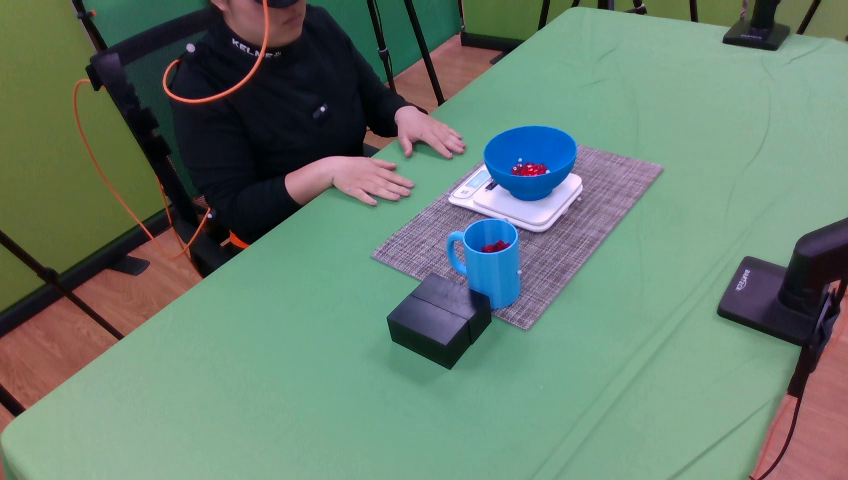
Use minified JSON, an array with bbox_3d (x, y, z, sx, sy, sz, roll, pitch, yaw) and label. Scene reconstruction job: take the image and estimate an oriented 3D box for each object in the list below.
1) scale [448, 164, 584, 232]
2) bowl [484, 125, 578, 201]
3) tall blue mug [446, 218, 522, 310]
[{"bbox_3d":[0.156,-0.085,1.040,0.199,0.032,0.149,22,49,32],"label":"scale"},{"bbox_3d":[0.175,-0.117,0.991,0.151,0.077,0.150,-6,40,5],"label":"bowl"},{"bbox_3d":[0.082,0.034,0.852,0.107,0.108,0.077,-1,41,10],"label":"tall blue mug"}]
